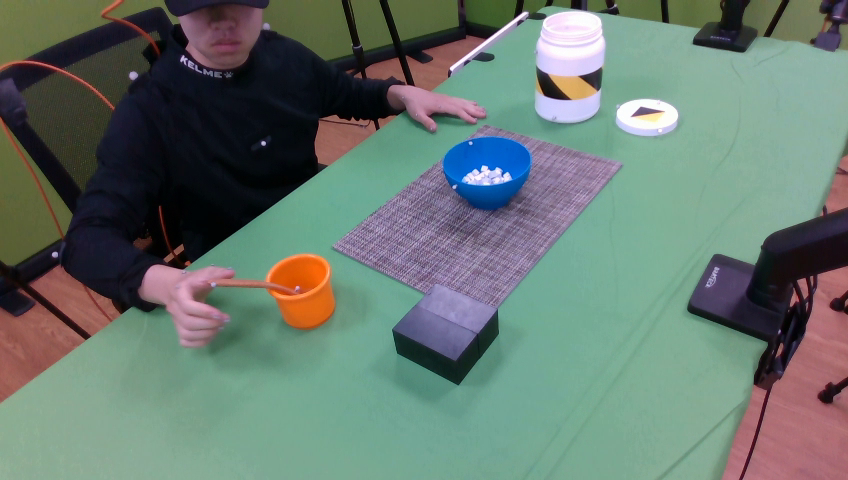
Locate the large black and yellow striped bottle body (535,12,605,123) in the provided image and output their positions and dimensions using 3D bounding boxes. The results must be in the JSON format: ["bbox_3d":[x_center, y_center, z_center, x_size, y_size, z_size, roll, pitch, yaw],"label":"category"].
[{"bbox_3d":[0.287,-0.341,1.197,0.131,0.185,0.130,-4,41,4],"label":"large black and yellow striped bottle body"}]

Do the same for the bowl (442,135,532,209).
[{"bbox_3d":[0.108,-0.106,1.026,0.151,0.077,0.150,-4,41,4],"label":"bowl"}]

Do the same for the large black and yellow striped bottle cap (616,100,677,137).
[{"bbox_3d":[0.438,-0.241,1.190,0.115,0.019,0.114,-4,42,4],"label":"large black and yellow striped bottle cap"}]

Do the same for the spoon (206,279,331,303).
[{"bbox_3d":[-0.206,0.066,0.824,0.041,0.021,0.195,29,7,41],"label":"spoon"}]
